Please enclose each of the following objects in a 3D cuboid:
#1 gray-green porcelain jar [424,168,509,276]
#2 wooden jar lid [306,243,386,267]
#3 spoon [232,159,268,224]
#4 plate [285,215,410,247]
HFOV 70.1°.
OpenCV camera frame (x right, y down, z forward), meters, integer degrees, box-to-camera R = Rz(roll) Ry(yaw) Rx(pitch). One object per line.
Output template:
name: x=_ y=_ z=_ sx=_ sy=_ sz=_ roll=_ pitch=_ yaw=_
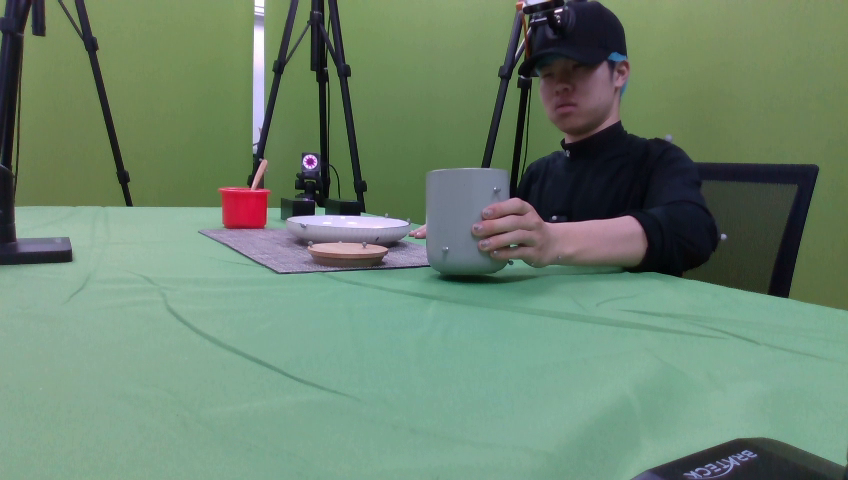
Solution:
gray-green porcelain jar: x=0.053 y=-0.021 z=0.752 sx=0.106 sy=0.126 sz=0.106 roll=-1 pitch=1 yaw=0
wooden jar lid: x=-0.105 y=0.020 z=0.816 sx=0.108 sy=0.020 sz=0.108 roll=1 pitch=7 yaw=0
spoon: x=-0.342 y=-0.101 z=1.218 sx=0.041 sy=0.021 sz=0.193 roll=4 pitch=51 yaw=4
plate: x=-0.127 y=-0.015 z=1.012 sx=0.208 sy=0.039 sz=0.207 roll=3 pitch=7 yaw=0
